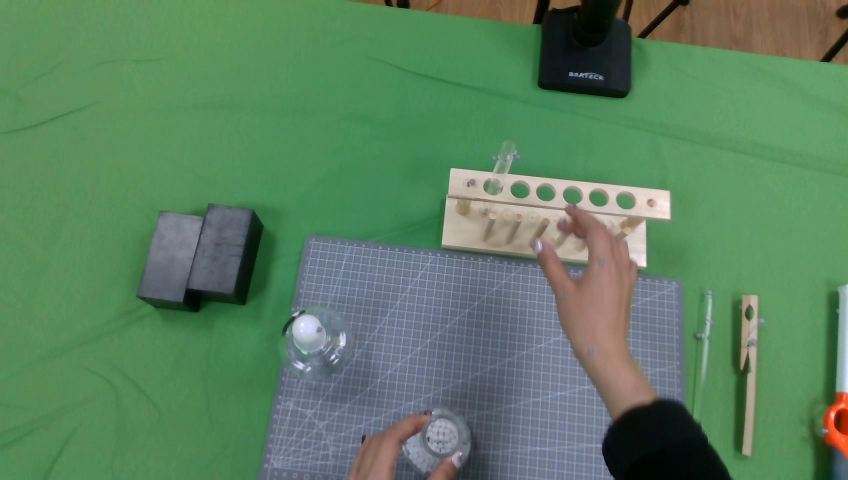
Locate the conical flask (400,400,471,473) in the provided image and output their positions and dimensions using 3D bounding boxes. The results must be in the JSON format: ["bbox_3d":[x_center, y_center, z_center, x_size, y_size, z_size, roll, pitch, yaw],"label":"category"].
[{"bbox_3d":[0.014,0.191,0.597,0.075,0.122,0.075,1,71,-2],"label":"conical flask"}]

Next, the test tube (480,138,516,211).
[{"bbox_3d":[0.078,-0.067,0.656,0.017,0.151,0.017,1,69,-3],"label":"test tube"}]

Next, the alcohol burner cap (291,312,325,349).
[{"bbox_3d":[-0.115,0.086,0.593,0.034,0.048,0.033,2,68,-5],"label":"alcohol burner cap"}]

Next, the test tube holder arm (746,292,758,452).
[{"bbox_3d":[0.367,0.145,0.681,0.013,0.015,0.177,-7,66,36],"label":"test tube holder arm"}]

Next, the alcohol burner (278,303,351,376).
[{"bbox_3d":[-0.116,0.100,0.627,0.078,0.120,0.077,0,70,0],"label":"alcohol burner"}]

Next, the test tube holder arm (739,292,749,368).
[{"bbox_3d":[0.369,0.104,0.698,0.010,0.015,0.087,-5,67,37],"label":"test tube holder arm"}]

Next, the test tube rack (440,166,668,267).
[{"bbox_3d":[0.144,-0.025,0.696,0.242,0.085,0.066,6,71,0],"label":"test tube rack"}]

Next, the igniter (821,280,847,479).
[{"bbox_3d":[0.468,0.178,0.670,0.057,0.025,0.275,18,72,-6],"label":"igniter"}]

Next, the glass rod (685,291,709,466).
[{"bbox_3d":[0.309,0.152,0.683,0.008,0.008,0.198,14,74,2],"label":"glass rod"}]
